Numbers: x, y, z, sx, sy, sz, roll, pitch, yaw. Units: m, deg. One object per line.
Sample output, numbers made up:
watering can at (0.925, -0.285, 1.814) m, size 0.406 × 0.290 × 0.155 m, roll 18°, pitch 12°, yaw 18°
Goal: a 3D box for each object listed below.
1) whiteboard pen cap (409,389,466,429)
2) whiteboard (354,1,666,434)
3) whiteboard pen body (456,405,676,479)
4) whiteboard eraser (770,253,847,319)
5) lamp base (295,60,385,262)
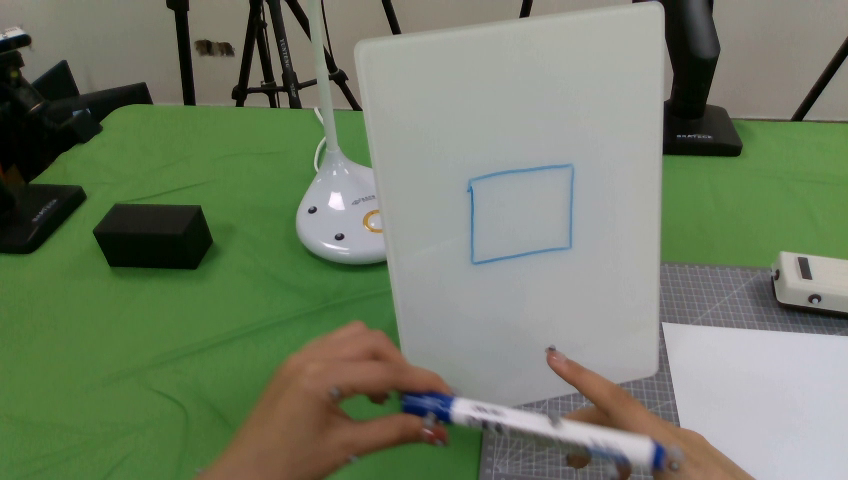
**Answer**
whiteboard pen cap at (0.009, 0.099, 0.355) m, size 0.033 × 0.018 × 0.018 m, roll 11°, pitch 41°, yaw 22°
whiteboard at (0.067, -0.025, 0.515) m, size 0.217 × 0.307 × 0.142 m, roll -10°, pitch 21°, yaw -7°
whiteboard pen body at (0.062, 0.108, 0.330) m, size 0.140 × 0.017 × 0.017 m, roll 8°, pitch 40°, yaw 25°
whiteboard eraser at (0.387, 0.047, 0.564) m, size 0.112 × 0.042 × 0.055 m, roll 8°, pitch 39°, yaw 14°
lamp base at (-0.080, -0.094, 0.661) m, size 0.161 × 0.182 × 0.177 m, roll -29°, pitch 44°, yaw -28°
